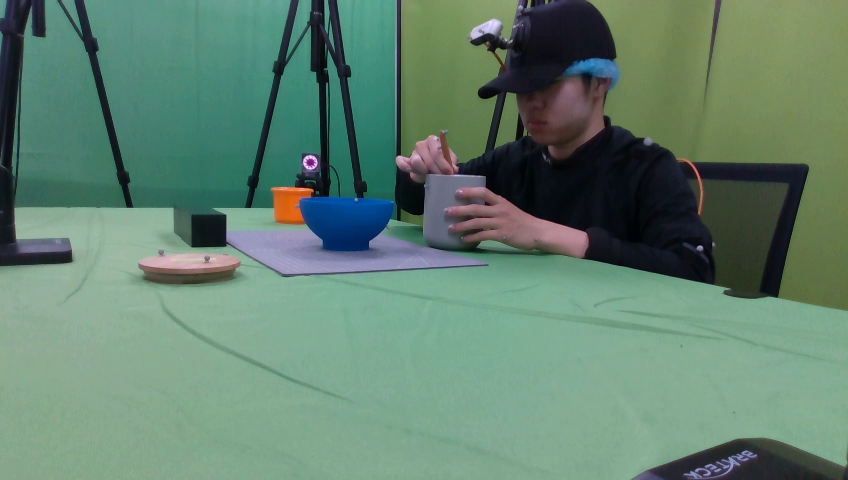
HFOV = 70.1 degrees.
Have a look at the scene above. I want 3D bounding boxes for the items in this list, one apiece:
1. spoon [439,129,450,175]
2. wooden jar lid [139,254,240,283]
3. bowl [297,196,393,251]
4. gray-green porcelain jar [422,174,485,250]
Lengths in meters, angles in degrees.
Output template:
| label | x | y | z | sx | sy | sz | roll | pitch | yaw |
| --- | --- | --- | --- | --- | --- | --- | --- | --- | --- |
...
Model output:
| label | x | y | z | sx | sy | sz | roll | pitch | yaw |
| --- | --- | --- | --- | --- | --- | --- | --- | --- | --- |
| spoon | 0.037 | -0.088 | 1.014 | 0.022 | 0.193 | 0.041 | -8 | 15 | -25 |
| wooden jar lid | -0.269 | 0.032 | 0.697 | 0.108 | 0.020 | 0.108 | 2 | 5 | 0 |
| bowl | -0.125 | -0.026 | 0.957 | 0.151 | 0.077 | 0.151 | 2 | 7 | 0 |
| gray-green porcelain jar | 0.050 | -0.049 | 1.040 | 0.106 | 0.126 | 0.106 | 2 | 8 | 0 |
